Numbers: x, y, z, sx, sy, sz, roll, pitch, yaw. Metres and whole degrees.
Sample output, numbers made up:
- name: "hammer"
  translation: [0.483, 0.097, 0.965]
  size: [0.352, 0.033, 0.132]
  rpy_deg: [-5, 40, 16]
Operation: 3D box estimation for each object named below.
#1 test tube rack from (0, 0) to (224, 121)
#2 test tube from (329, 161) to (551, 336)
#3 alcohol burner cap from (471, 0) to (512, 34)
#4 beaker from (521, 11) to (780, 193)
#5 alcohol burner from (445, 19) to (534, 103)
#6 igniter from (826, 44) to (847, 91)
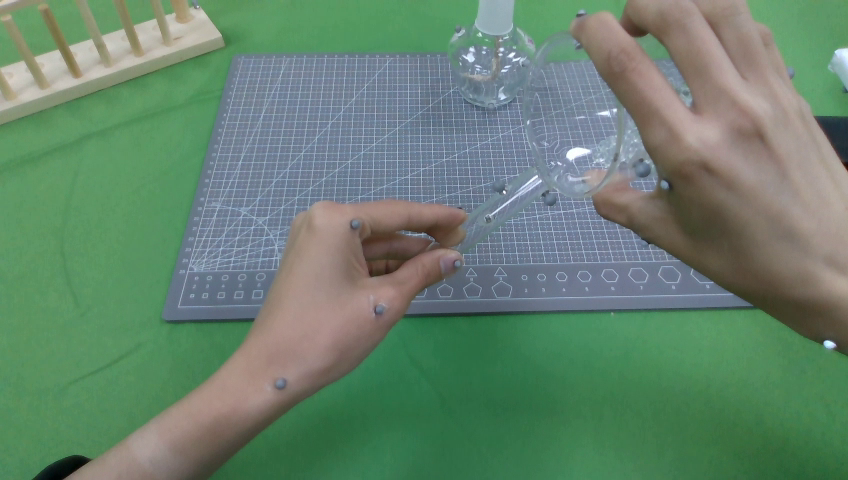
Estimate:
- name: "test tube rack"
  translation: [-0.319, -0.191, 0.548]
  size: [0.242, 0.086, 0.066]
  rpy_deg: [-27, 58, -19]
- name: "test tube"
  translation: [0.004, 0.008, 0.328]
  size: [0.150, 0.017, 0.017]
  rpy_deg: [-38, 53, 18]
- name: "alcohol burner cap"
  translation: [0.057, -0.198, 0.495]
  size: [0.034, 0.048, 0.033]
  rpy_deg: [2, 52, -2]
- name: "beaker"
  translation: [0.107, -0.067, 0.291]
  size: [0.100, 0.084, 0.073]
  rpy_deg: [-14, 60, -19]
- name: "alcohol burner"
  translation: [0.058, -0.178, 0.519]
  size: [0.078, 0.120, 0.077]
  rpy_deg: [1, 54, -1]
- name: "igniter"
  translation: [0.348, -0.052, 0.425]
  size: [0.057, 0.025, 0.274]
  rpy_deg: [1, 51, 5]
